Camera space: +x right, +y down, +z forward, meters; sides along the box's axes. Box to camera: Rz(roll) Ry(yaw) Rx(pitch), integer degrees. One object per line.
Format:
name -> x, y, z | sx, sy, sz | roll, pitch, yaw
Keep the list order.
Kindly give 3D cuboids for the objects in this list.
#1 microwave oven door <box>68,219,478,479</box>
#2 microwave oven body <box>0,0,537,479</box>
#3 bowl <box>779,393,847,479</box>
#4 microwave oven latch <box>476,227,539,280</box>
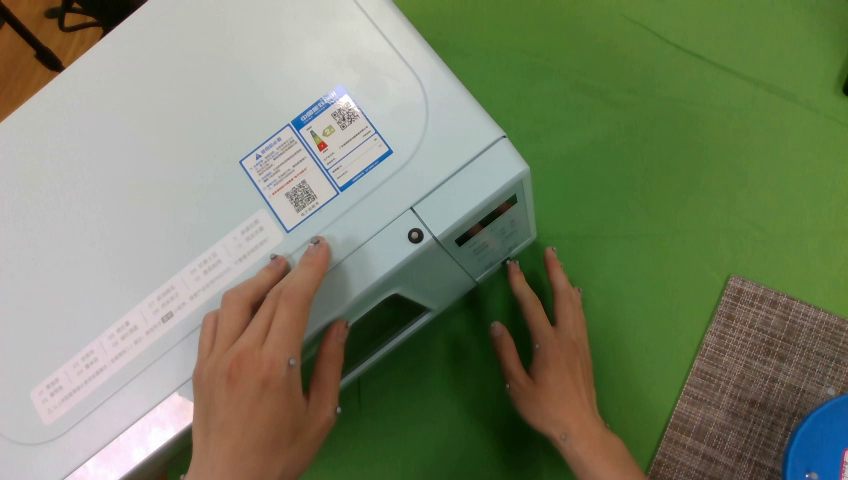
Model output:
microwave oven door -> -0.118, 0.120, 0.518 | 0.356, 0.245, 0.039 | -38, 73, 2
microwave oven body -> -0.168, -0.017, 0.560 | 0.442, 0.261, 0.324 | -38, 75, 3
bowl -> 0.368, 0.199, 0.504 | 0.151, 0.077, 0.150 | -2, 78, 11
microwave oven latch -> 0.077, 0.006, 0.606 | 0.079, 0.029, 0.030 | -36, 75, 4
